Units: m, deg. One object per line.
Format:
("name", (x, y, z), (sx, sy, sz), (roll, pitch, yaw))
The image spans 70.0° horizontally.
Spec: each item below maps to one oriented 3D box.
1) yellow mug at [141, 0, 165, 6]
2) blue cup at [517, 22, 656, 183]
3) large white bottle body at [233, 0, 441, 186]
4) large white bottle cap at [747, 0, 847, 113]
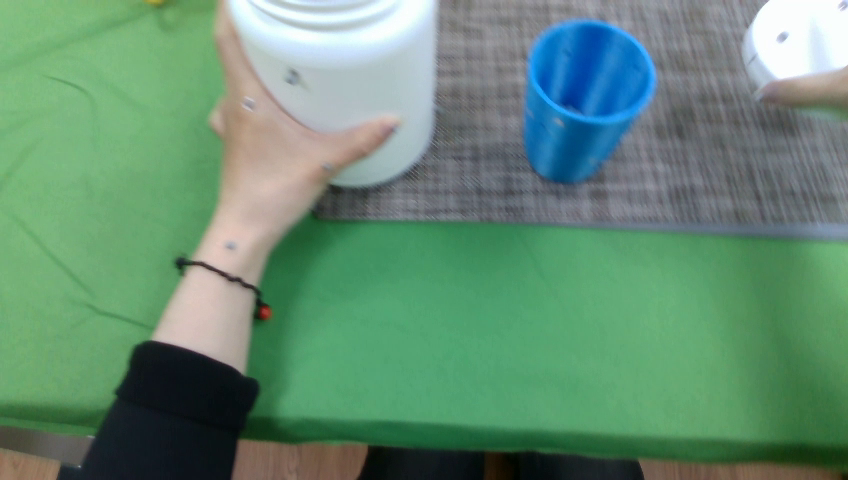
("yellow mug", (-0.230, -0.269, 0.545), (0.100, 0.064, 0.130), (12, 66, 4))
("blue cup", (0.113, -0.093, 0.451), (0.092, 0.101, 0.092), (0, 65, 0))
("large white bottle body", (-0.055, -0.136, 0.420), (0.131, 0.186, 0.129), (1, 65, -2))
("large white bottle cap", (0.299, -0.145, 0.445), (0.115, 0.018, 0.114), (-1, 66, 2))
